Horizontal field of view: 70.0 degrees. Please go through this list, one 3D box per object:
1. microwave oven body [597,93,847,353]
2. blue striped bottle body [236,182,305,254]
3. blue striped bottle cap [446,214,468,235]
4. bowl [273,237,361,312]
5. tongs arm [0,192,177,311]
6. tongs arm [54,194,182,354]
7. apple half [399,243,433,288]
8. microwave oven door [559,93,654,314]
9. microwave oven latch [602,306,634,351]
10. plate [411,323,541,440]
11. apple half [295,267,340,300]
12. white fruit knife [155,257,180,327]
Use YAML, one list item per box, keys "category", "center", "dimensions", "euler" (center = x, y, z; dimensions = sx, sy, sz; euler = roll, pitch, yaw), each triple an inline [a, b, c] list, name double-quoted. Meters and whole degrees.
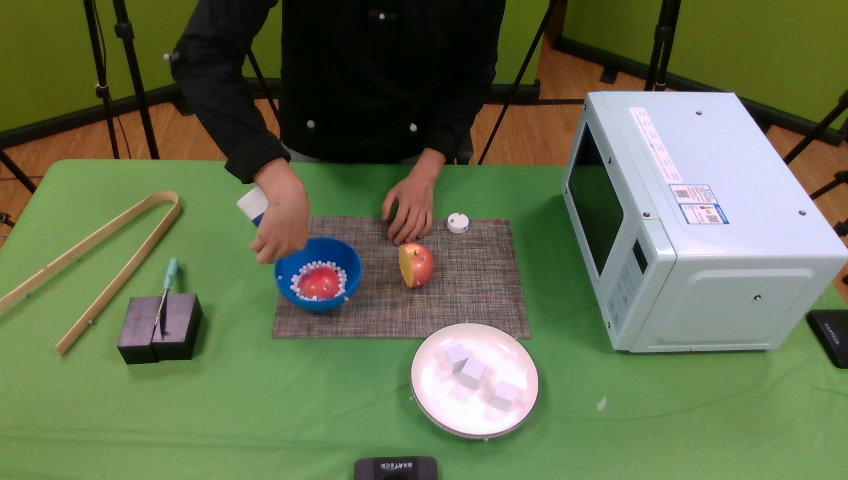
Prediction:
- category: "microwave oven body"
  center: [0.475, -0.041, 1.109]
  dimensions: [0.326, 0.261, 0.438]
  euler: [-1, 45, -4]
- category: "blue striped bottle body"
  center: [-0.254, -0.033, 1.022]
  dimensions: [0.121, 0.063, 0.063]
  euler: [50, 53, -8]
- category: "blue striped bottle cap"
  center: [0.069, -0.033, 1.239]
  dimensions: [0.044, 0.021, 0.044]
  euler: [1, 46, -1]
- category: "bowl"
  center: [-0.186, 0.074, 1.069]
  dimensions: [0.151, 0.077, 0.150]
  euler: [3, 46, -3]
- category: "tongs arm"
  center: [-0.618, 0.020, 1.124]
  dimensions: [0.050, 0.026, 0.384]
  euler: [24, 47, 16]
- category: "tongs arm"
  center: [-0.543, 0.048, 1.108]
  dimensions: [0.028, 0.028, 0.385]
  euler: [11, 45, 10]
- category: "apple half"
  center: [-0.011, 0.046, 1.115]
  dimensions: [0.053, 0.075, 0.080]
  euler: [-11, 44, -19]
- category: "microwave oven door"
  center: [0.327, -0.074, 1.123]
  dimensions: [0.039, 0.245, 0.353]
  euler: [-1, 46, -5]
- category: "microwave oven latch"
  center: [0.332, 0.153, 1.044]
  dimensions: [0.030, 0.029, 0.078]
  euler: [-1, 45, -4]
- category: "plate"
  center: [0.082, 0.228, 0.976]
  dimensions: [0.208, 0.039, 0.206]
  euler: [2, 45, -2]
- category: "apple half"
  center: [-0.187, 0.071, 1.067]
  dimensions: [0.081, 0.033, 0.081]
  euler: [3, 47, -3]
- category: "white fruit knife"
  center: [-0.440, 0.085, 1.037]
  dimensions: [0.016, 0.027, 0.206]
  euler: [10, 26, -18]
